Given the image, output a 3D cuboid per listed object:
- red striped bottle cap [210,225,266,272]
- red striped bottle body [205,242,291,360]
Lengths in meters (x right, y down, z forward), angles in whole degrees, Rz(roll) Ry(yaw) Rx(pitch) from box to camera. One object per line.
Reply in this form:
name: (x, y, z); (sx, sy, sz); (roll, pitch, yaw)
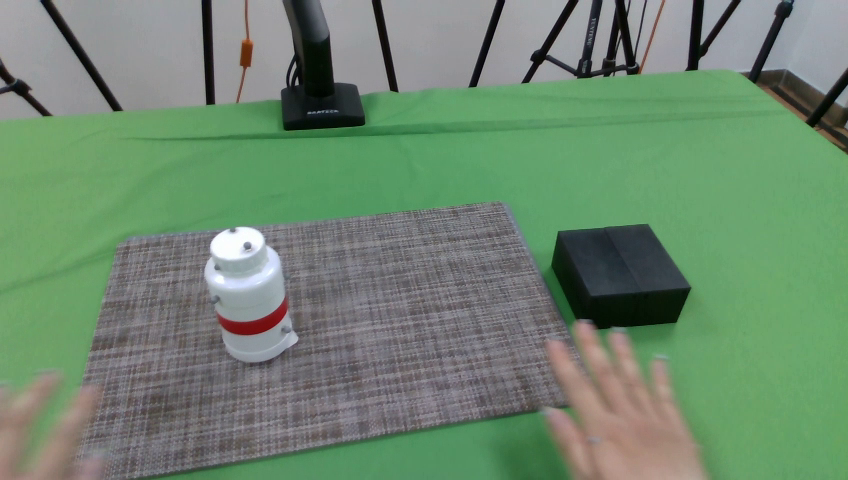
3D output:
red striped bottle cap: (-0.156, 0.006, 0.507); (0.044, 0.018, 0.044); (4, 39, -3)
red striped bottle body: (-0.157, 0.046, 0.542); (0.063, 0.121, 0.062); (1, 40, -1)
